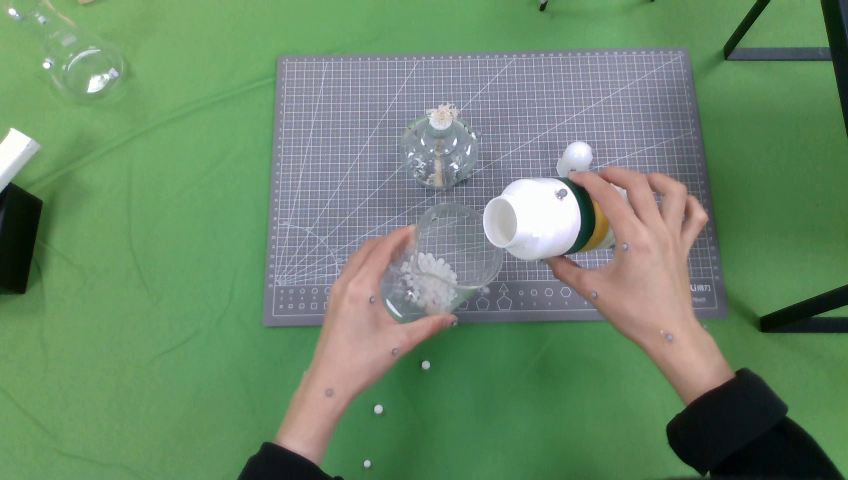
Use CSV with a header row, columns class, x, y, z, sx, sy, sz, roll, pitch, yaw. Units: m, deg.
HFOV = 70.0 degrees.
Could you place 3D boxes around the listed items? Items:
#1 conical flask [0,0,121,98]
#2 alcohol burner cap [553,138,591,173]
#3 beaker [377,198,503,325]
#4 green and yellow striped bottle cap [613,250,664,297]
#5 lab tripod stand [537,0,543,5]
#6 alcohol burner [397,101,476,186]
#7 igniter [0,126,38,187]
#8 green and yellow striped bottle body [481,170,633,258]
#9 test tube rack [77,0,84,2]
class,x,y,z,sx,sy,sz,roll,pitch,yaw
conical flask,-0.371,-0.205,0.612,0.075,0.122,0.075,0,73,1
alcohol burner cap,0.151,-0.085,0.610,0.034,0.048,0.033,0,74,1
beaker,0.006,0.024,0.498,0.084,0.100,0.073,-29,79,-35
green and yellow striped bottle cap,0.209,0.032,0.589,0.045,0.020,0.045,0,75,0
lab tripod stand,0.189,-0.323,0.632,0.148,0.132,0.147,0,73,0
alcohol burner,0.013,-0.097,0.578,0.078,0.120,0.077,0,72,-1
igniter,-0.459,0.010,0.552,0.057,0.025,0.276,28,75,18
green and yellow striped bottle body,0.103,-0.021,0.477,0.120,0.063,0.063,-9,70,-34
test tube rack,-0.298,-0.357,0.673,0.242,0.085,0.066,-21,74,-5
